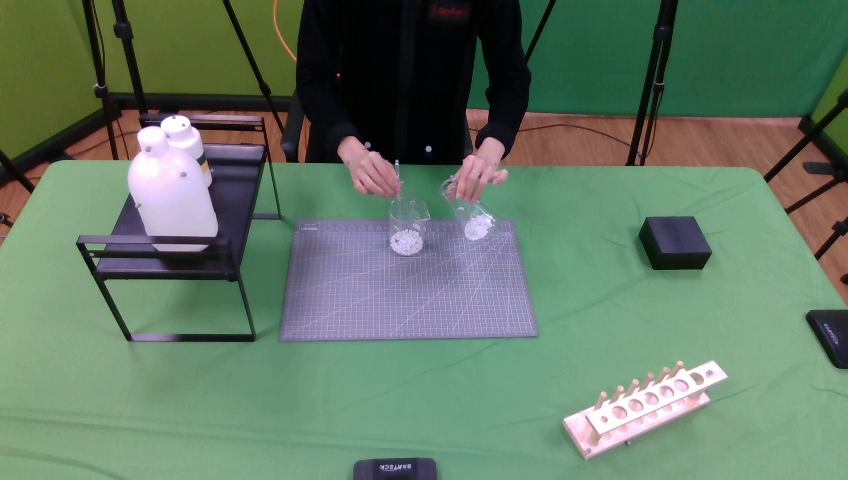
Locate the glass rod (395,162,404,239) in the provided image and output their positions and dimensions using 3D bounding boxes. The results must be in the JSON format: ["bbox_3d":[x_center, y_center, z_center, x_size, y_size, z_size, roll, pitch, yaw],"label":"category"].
[{"bbox_3d":[-0.045,-0.069,1.123,0.008,0.201,0.008,-1,49,1],"label":"glass rod"}]

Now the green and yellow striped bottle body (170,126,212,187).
[{"bbox_3d":[-0.389,-0.139,0.984,0.063,0.120,0.063,2,46,-2],"label":"green and yellow striped bottle body"}]

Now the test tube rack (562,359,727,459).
[{"bbox_3d":[0.341,0.247,0.940,0.243,0.085,0.066,-16,49,-18],"label":"test tube rack"}]

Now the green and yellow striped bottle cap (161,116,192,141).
[{"bbox_3d":[-0.387,-0.174,0.946,0.045,0.020,0.045,3,44,-3],"label":"green and yellow striped bottle cap"}]

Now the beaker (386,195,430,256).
[{"bbox_3d":[-0.031,-0.024,1.161,0.084,0.101,0.073,18,48,12],"label":"beaker"}]

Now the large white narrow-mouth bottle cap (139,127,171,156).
[{"bbox_3d":[-0.358,-0.132,0.807,0.038,0.024,0.037,3,47,-3],"label":"large white narrow-mouth bottle cap"}]

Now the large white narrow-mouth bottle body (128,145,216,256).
[{"bbox_3d":[-0.366,-0.073,0.872,0.102,0.195,0.101,3,47,-3],"label":"large white narrow-mouth bottle body"}]

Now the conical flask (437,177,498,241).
[{"bbox_3d":[0.073,-0.059,1.099,0.075,0.122,0.075,-30,33,22],"label":"conical flask"}]
